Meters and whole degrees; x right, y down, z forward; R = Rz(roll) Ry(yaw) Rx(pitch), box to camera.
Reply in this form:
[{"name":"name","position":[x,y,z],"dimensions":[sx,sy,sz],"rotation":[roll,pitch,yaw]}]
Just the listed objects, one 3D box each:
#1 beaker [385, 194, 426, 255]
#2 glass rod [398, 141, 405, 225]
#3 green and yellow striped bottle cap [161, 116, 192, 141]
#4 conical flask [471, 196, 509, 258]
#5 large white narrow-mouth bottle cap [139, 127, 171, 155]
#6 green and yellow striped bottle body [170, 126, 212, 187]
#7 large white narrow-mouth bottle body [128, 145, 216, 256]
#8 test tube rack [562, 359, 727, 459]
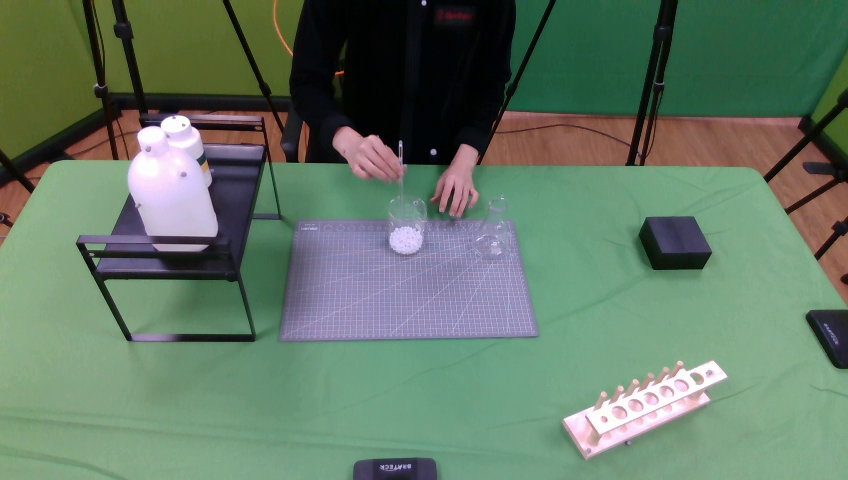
[{"name":"beaker","position":[-0.033,-0.026,1.162],"dimensions":[0.083,0.101,0.074],"rotation":[29,52,21]},{"name":"glass rod","position":[-0.040,-0.095,1.074],"dimensions":[0.008,0.201,0.008],"rotation":[0,48,0]},{"name":"green and yellow striped bottle cap","position":[-0.387,-0.174,0.946],"dimensions":[0.045,0.020,0.045],"rotation":[3,44,-3]},{"name":"conical flask","position":[0.133,-0.028,1.161],"dimensions":[0.075,0.122,0.075],"rotation":[2,46,-2]},{"name":"large white narrow-mouth bottle cap","position":[-0.358,-0.132,0.807],"dimensions":[0.038,0.024,0.037],"rotation":[3,47,-3]},{"name":"green and yellow striped bottle body","position":[-0.389,-0.139,0.984],"dimensions":[0.063,0.120,0.063],"rotation":[2,46,-2]},{"name":"large white narrow-mouth bottle body","position":[-0.366,-0.073,0.872],"dimensions":[0.102,0.195,0.101],"rotation":[3,47,-3]},{"name":"test tube rack","position":[0.341,0.247,0.940],"dimensions":[0.243,0.085,0.066],"rotation":[-16,49,-19]}]
